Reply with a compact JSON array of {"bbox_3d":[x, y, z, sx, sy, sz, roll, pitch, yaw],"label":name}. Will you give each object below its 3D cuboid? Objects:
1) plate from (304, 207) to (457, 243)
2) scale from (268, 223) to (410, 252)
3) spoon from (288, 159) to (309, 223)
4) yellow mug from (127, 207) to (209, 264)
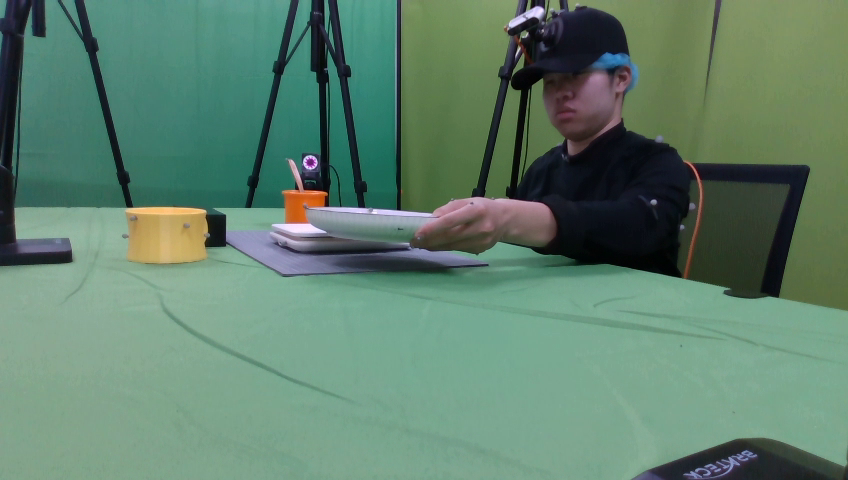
[{"bbox_3d":[-0.059,-0.021,0.830,0.209,0.038,0.209,4,4,0],"label":"plate"},{"bbox_3d":[-0.138,-0.006,0.979,0.202,0.031,0.148,-1,8,-30],"label":"scale"},{"bbox_3d":[-0.259,-0.103,1.268,0.042,0.193,0.021,3,-39,-33],"label":"spoon"},{"bbox_3d":[-0.339,-0.009,0.827,0.100,0.064,0.131,5,7,17],"label":"yellow mug"}]
